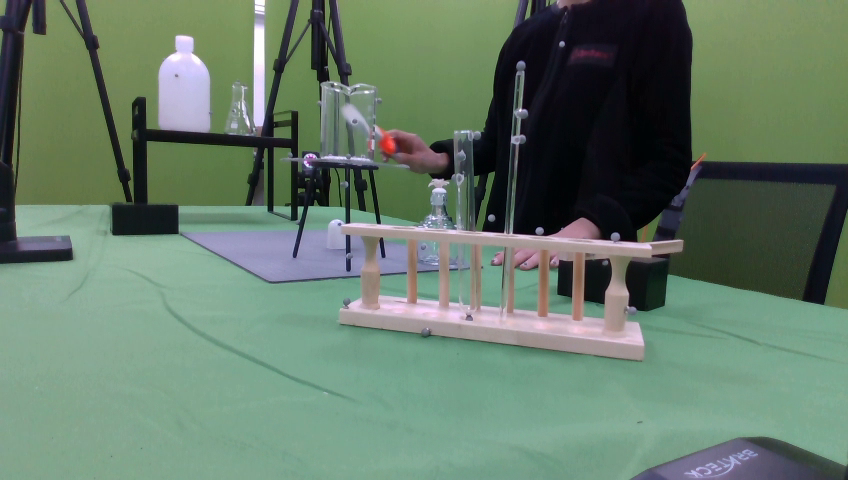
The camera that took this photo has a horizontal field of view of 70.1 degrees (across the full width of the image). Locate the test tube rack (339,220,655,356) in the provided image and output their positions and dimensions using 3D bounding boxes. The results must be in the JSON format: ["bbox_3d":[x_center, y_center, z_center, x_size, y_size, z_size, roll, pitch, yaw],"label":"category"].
[{"bbox_3d":[0.056,0.032,0.495,0.242,0.085,0.067,4,7,15],"label":"test tube rack"}]

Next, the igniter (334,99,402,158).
[{"bbox_3d":[-0.086,-0.181,1.015,0.025,0.057,0.277,-37,-12,9],"label":"igniter"}]

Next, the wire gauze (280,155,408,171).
[{"bbox_3d":[-0.104,-0.103,0.785,0.126,0.011,0.121,1,8,-39],"label":"wire gauze"}]

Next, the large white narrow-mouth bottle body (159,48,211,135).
[{"bbox_3d":[-0.503,-0.323,1.275,0.102,0.194,0.102,2,7,0],"label":"large white narrow-mouth bottle body"}]

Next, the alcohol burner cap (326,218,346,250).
[{"bbox_3d":[-0.133,-0.010,0.927,0.034,0.048,0.034,4,8,0],"label":"alcohol burner cap"}]

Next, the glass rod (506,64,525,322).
[{"bbox_3d":[0.069,-0.030,0.458,0.008,0.199,0.008,0,15,0],"label":"glass rod"}]

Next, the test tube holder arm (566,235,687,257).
[{"bbox_3d":[0.215,0.006,0.630,0.179,0.015,0.013,-3,9,-31],"label":"test tube holder arm"}]

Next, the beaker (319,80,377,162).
[{"bbox_3d":[-0.098,-0.150,0.777,0.074,0.100,0.084,1,7,-8],"label":"beaker"}]

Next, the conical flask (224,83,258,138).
[{"bbox_3d":[-0.422,-0.299,1.395,0.075,0.122,0.075,2,7,0],"label":"conical flask"}]

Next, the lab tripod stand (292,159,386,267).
[{"bbox_3d":[-0.104,-0.039,0.797,0.148,0.131,0.148,2,5,0],"label":"lab tripod stand"}]

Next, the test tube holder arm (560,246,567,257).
[{"bbox_3d":[0.173,0.007,0.611,0.088,0.015,0.010,-3,9,-30],"label":"test tube holder arm"}]

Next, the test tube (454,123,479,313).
[{"bbox_3d":[0.034,-0.016,0.477,0.017,0.150,0.017,-2,9,1],"label":"test tube"}]

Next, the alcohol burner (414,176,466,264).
[{"bbox_3d":[0.021,-0.028,0.826,0.078,0.119,0.078,0,6,0],"label":"alcohol burner"}]

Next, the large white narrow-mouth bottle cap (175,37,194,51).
[{"bbox_3d":[-0.501,-0.409,1.264,0.038,0.024,0.037,2,7,0],"label":"large white narrow-mouth bottle cap"}]
